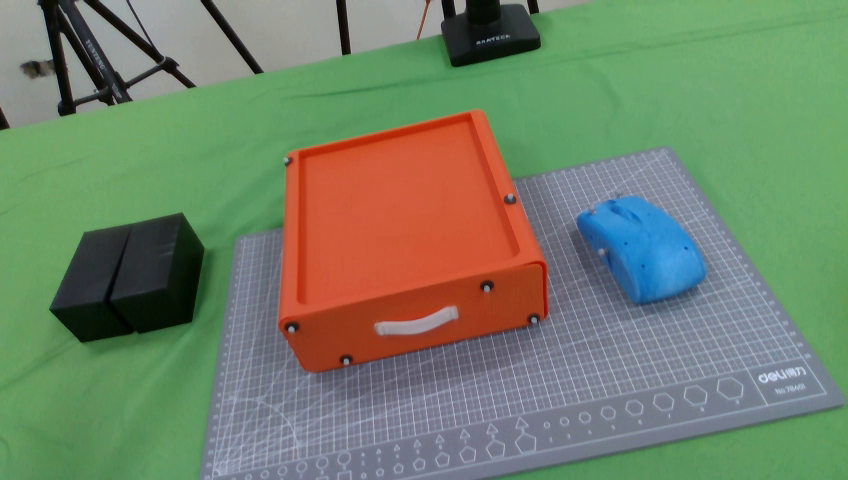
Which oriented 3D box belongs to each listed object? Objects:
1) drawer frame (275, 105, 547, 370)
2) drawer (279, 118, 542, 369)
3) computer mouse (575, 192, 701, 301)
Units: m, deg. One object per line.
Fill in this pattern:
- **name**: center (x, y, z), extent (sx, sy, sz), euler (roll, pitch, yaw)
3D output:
- **drawer frame**: center (-0.020, -0.010, 0.529), extent (0.202, 0.083, 0.211), euler (-14, 44, 1)
- **drawer**: center (-0.020, -0.008, 0.528), extent (0.194, 0.074, 0.209), euler (-13, 44, 2)
- **computer mouse**: center (0.175, -0.002, 0.507), extent (0.063, 0.041, 0.116), euler (-19, 41, -2)
